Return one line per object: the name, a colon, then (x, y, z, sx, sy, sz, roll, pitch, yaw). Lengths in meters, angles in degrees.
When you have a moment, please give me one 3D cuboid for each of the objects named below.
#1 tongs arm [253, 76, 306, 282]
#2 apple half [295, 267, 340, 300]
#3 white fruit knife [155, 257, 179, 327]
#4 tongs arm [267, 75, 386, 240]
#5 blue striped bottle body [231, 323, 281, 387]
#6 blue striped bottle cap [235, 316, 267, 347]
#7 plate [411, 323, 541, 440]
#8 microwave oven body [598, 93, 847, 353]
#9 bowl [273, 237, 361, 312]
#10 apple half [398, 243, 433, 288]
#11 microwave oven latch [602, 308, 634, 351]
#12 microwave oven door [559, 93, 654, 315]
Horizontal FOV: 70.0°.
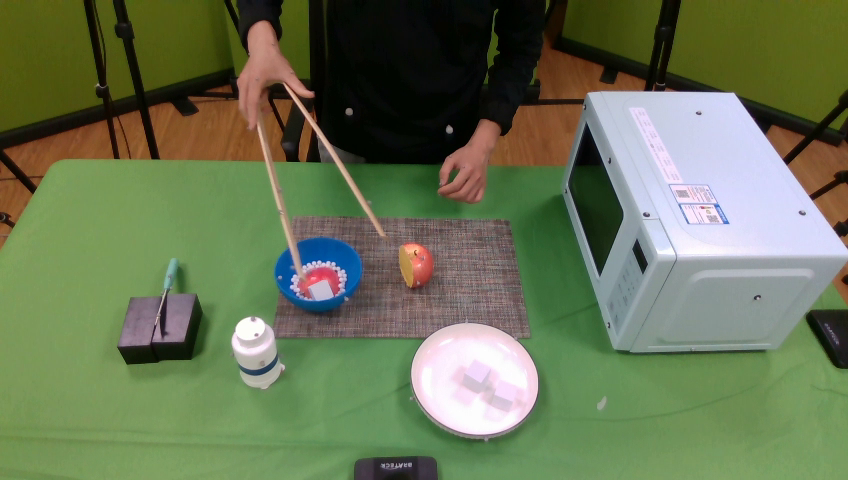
tongs arm: (-0.226, -0.110, 0.980, 0.051, 0.026, 0.382, -25, 64, 6)
apple half: (-0.187, 0.071, 1.067, 0.081, 0.033, 0.081, 3, 47, -3)
white fruit knife: (-0.440, 0.085, 1.037, 0.016, 0.027, 0.206, 10, 26, -19)
tongs arm: (-0.160, -0.144, 0.976, 0.028, 0.028, 0.385, -37, 64, 4)
blue striped bottle body: (-0.262, 0.171, 0.944, 0.063, 0.121, 0.062, 2, 46, -2)
blue striped bottle cap: (-0.259, 0.137, 0.907, 0.044, 0.021, 0.044, 2, 44, -2)
plate: (0.082, 0.228, 0.976, 0.208, 0.039, 0.206, 2, 45, -2)
microwave oven body: (0.475, -0.041, 1.109, 0.326, 0.261, 0.438, -1, 45, -4)
bowl: (-0.186, 0.074, 1.069, 0.151, 0.077, 0.150, 3, 46, -3)
apple half: (-0.012, 0.047, 1.115, 0.053, 0.075, 0.080, -11, 44, -20)
microwave oven latch: (0.332, 0.153, 1.043, 0.030, 0.029, 0.078, -1, 45, -4)
microwave oven door: (0.327, -0.074, 1.123, 0.039, 0.245, 0.353, 0, 46, -5)
